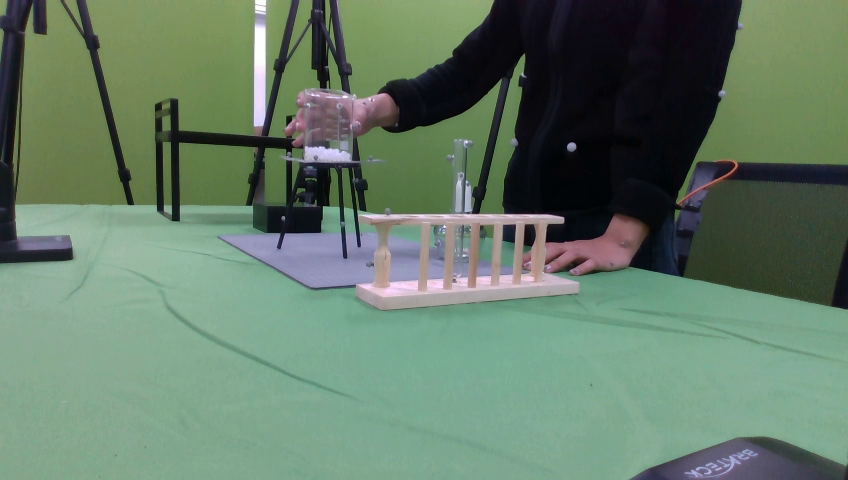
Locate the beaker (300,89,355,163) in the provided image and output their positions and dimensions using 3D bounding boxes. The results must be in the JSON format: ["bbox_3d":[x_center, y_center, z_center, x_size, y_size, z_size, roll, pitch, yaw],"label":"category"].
[{"bbox_3d":[-0.136,-0.160,0.867,0.083,0.100,0.074,6,8,25],"label":"beaker"}]

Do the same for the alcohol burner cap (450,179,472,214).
[{"bbox_3d":[0.053,-0.063,0.858,0.034,0.048,0.034,1,13,0],"label":"alcohol burner cap"}]

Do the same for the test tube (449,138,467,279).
[{"bbox_3d":[0.035,-0.033,0.645,0.017,0.150,0.017,2,4,0],"label":"test tube"}]

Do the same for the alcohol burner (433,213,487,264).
[{"bbox_3d":[0.052,-0.027,0.863,0.078,0.119,0.078,1,5,0],"label":"alcohol burner"}]

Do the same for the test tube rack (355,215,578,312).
[{"bbox_3d":[0.053,0.019,0.641,0.243,0.085,0.066,-1,8,-29],"label":"test tube rack"}]

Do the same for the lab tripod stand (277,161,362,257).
[{"bbox_3d":[-0.142,-0.049,0.884,0.148,0.131,0.148,2,9,0],"label":"lab tripod stand"}]

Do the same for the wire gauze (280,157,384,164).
[{"bbox_3d":[-0.134,-0.113,0.875,0.122,0.011,0.124,-1,6,-30],"label":"wire gauze"}]
